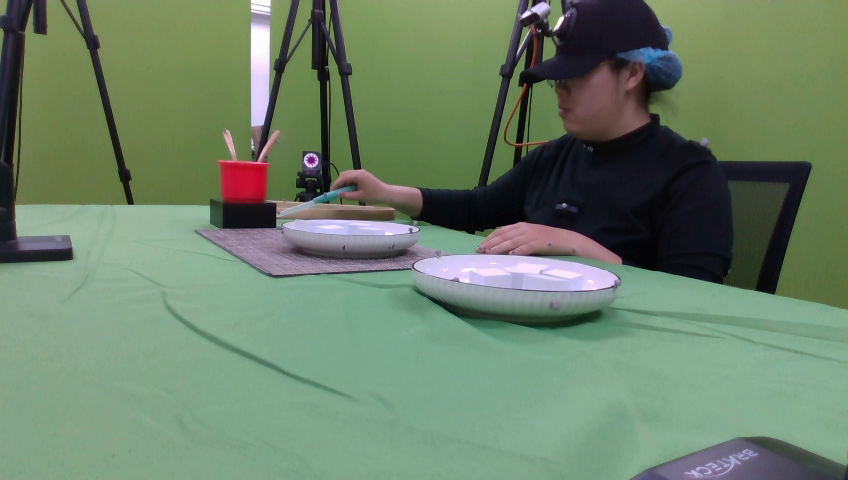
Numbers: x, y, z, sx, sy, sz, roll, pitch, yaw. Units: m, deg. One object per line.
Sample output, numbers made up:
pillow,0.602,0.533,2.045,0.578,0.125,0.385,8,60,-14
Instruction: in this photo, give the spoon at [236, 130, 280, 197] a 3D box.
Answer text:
spoon,-0.321,-0.154,1.192,0.041,0.193,0.022,1,-37,19

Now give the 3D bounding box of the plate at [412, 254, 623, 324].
plate,0.091,0.047,0.609,0.209,0.038,0.209,2,7,0

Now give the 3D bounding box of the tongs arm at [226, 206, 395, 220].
tongs arm,-0.248,-0.061,1.382,0.389,0.028,0.028,0,6,-21

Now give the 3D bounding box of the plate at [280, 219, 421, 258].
plate,-0.108,-0.002,0.902,0.208,0.039,0.207,3,7,0

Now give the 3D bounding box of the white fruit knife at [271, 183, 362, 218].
white fruit knife,-0.232,-0.086,1.315,0.208,0.016,0.027,-22,-27,-16

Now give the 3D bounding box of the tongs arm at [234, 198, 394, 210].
tongs arm,-0.263,-0.076,1.460,0.386,0.026,0.050,3,8,-8

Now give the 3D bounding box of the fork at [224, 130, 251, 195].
fork,-0.372,-0.155,1.193,0.028,0.018,0.206,-17,54,-13
